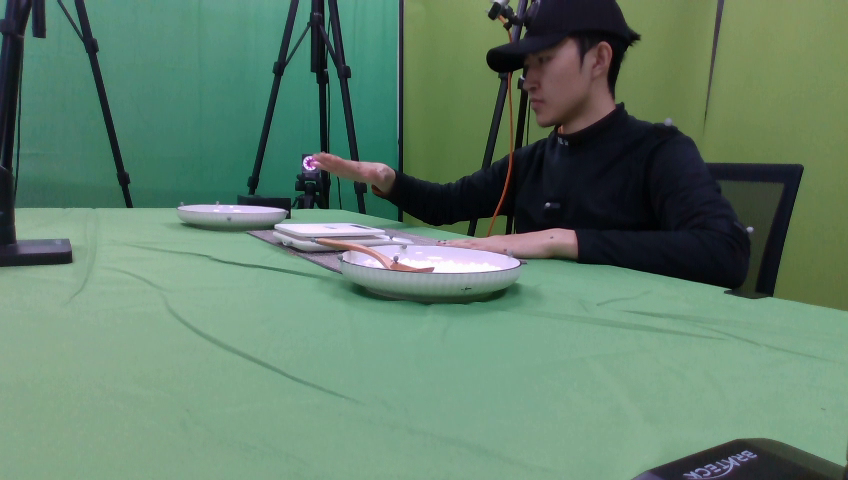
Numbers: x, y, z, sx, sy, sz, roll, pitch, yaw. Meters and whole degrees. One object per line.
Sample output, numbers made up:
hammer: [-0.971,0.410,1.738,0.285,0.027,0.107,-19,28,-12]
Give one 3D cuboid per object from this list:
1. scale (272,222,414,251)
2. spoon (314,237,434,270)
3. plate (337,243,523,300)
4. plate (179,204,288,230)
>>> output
scale: [-0.131,-0.008,0.984,0.202,0.031,0.148,-2,8,-32]
spoon: [-0.064,0.015,0.695,0.192,0.021,0.042,18,17,42]
plate: [0.007,0.035,0.688,0.209,0.038,0.209,2,6,0]
plate: [-0.382,-0.046,1.222,0.208,0.039,0.207,2,7,0]
